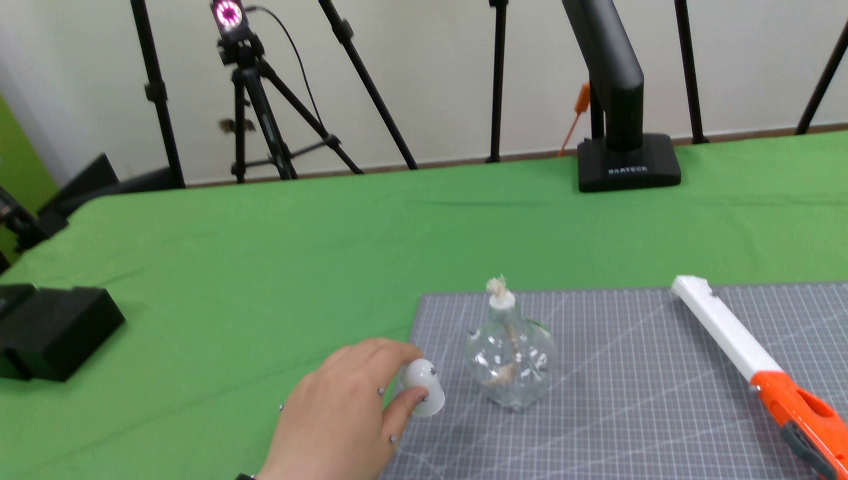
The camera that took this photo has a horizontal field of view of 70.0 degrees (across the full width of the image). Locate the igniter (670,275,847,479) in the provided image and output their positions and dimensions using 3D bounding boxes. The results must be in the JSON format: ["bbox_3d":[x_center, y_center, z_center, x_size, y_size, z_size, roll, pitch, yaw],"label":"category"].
[{"bbox_3d":[0.267,0.111,0.457,0.057,0.025,0.273,5,30,-13],"label":"igniter"}]

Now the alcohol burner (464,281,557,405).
[{"bbox_3d":[0.069,0.079,0.498,0.078,0.120,0.077,-7,37,6],"label":"alcohol burner"}]

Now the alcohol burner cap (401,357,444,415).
[{"bbox_3d":[-0.003,0.111,0.476,0.034,0.048,0.033,-5,41,5],"label":"alcohol burner cap"}]
